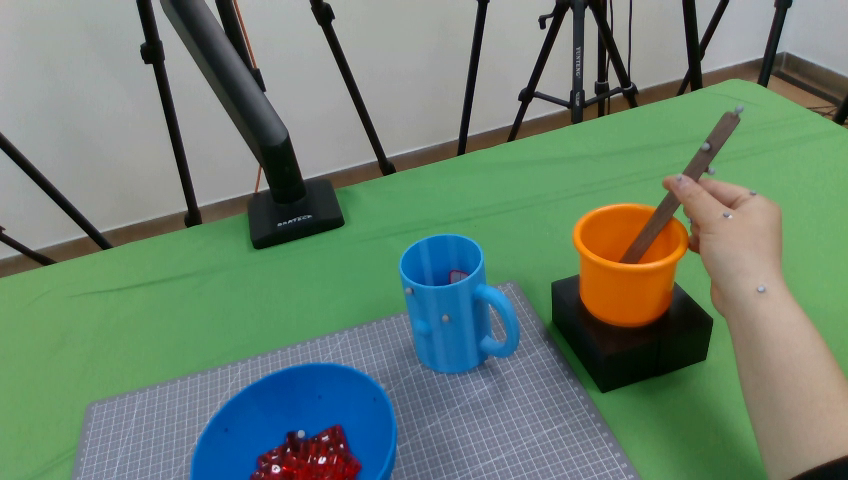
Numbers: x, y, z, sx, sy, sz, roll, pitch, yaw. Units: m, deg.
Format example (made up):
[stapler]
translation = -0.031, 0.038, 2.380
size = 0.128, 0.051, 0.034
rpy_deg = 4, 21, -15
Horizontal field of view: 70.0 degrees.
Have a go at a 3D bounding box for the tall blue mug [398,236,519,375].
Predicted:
[tall blue mug]
translation = 0.036, 0.062, 0.558
size = 0.107, 0.109, 0.077
rpy_deg = 1, 37, 14

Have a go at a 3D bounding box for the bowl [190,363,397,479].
[bowl]
translation = -0.089, 0.176, 0.460
size = 0.151, 0.077, 0.150
rpy_deg = -6, 37, 5

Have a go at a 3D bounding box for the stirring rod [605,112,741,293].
[stirring rod]
translation = 0.204, -0.027, 0.506
size = 0.014, 0.177, 0.006
rpy_deg = 38, 25, 22
